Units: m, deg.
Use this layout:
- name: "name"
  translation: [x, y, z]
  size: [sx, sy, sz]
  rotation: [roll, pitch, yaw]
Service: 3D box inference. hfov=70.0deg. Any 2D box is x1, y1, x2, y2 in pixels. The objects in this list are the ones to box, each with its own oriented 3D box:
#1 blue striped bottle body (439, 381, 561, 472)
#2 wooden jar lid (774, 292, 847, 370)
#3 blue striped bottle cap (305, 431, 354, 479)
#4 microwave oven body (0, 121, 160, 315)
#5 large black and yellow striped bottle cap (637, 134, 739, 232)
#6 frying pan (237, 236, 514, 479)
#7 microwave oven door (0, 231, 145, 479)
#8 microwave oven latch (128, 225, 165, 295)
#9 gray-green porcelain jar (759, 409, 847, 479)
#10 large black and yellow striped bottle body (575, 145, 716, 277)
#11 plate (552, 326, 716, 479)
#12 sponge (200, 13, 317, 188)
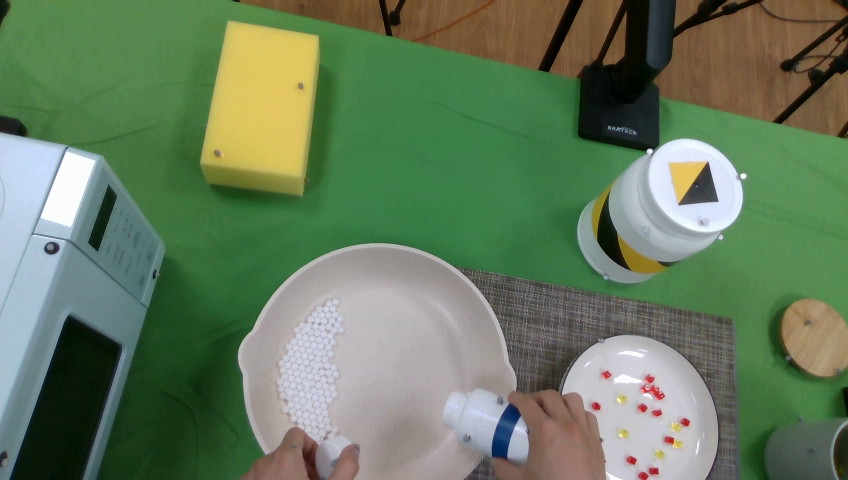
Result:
- name: "blue striped bottle body"
  translation: [0.076, 0.189, 0.632]
  size: [0.120, 0.063, 0.063]
  rotation: [16, 67, 23]
- name: "wooden jar lid"
  translation: [0.534, 0.126, 0.840]
  size: [0.108, 0.021, 0.108]
  rotation: [3, 73, -9]
- name: "blue striped bottle cap"
  translation: [-0.090, 0.203, 0.573]
  size: [0.044, 0.021, 0.044]
  rotation: [-9, 69, 23]
- name: "microwave oven body"
  translation: [-0.473, 0.127, 0.521]
  size: [0.327, 0.261, 0.439]
  rotation: [11, 71, -7]
- name: "large black and yellow striped bottle cap"
  translation: [0.297, -0.065, 0.679]
  size: [0.115, 0.019, 0.114]
  rotation: [3, 70, -9]
- name: "frying pan"
  translation: [-0.065, 0.234, 0.647]
  size: [0.307, 0.103, 0.484]
  rotation: [10, 63, -5]
- name: "microwave oven door"
  translation: [-0.337, 0.193, 0.519]
  size: [0.039, 0.244, 0.353]
  rotation: [11, 70, -7]
- name: "microwave oven latch"
  translation: [-0.318, 0.021, 0.686]
  size: [0.030, 0.029, 0.078]
  rotation: [14, 71, -6]
- name: "gray-green porcelain jar"
  translation: [0.484, 0.261, 0.730]
  size: [0.106, 0.127, 0.105]
  rotation: [3, 71, -9]
- name: "large black and yellow striped bottle body"
  translation: [0.283, -0.038, 0.759]
  size: [0.131, 0.184, 0.130]
  rotation: [3, 71, -9]
- name: "plate"
  translation: [0.255, 0.211, 0.747]
  size: [0.209, 0.038, 0.208]
  rotation: [3, 72, -9]
- name: "sponge"
  translation: [-0.207, -0.178, 0.778]
  size: [0.118, 0.061, 0.205]
  rotation: [6, 72, -9]
